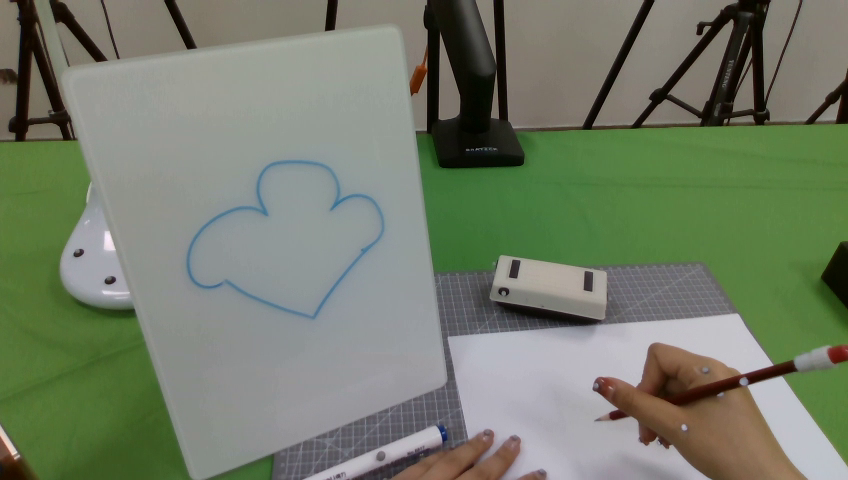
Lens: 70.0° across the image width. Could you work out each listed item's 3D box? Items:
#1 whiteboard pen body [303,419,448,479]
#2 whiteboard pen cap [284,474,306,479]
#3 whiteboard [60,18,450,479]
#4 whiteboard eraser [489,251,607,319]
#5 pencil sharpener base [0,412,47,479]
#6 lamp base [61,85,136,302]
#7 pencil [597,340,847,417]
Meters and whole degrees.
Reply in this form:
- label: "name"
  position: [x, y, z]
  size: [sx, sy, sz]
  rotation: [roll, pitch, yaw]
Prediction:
- label: "whiteboard pen body"
  position: [-0.046, 0.166, 0.458]
  size: [0.141, 0.017, 0.017]
  rotation: [-16, 42, -20]
- label: "whiteboard pen cap"
  position: [-0.100, 0.182, 0.438]
  size: [0.033, 0.018, 0.018]
  rotation: [-17, 42, -21]
- label: "whiteboard"
  position: [-0.121, -0.006, 0.497]
  size: [0.218, 0.307, 0.142]
  rotation: [-16, 22, -20]
- label: "whiteboard eraser"
  position: [0.125, 0.046, 0.606]
  size: [0.112, 0.042, 0.055]
  rotation: [10, 40, 9]
- label: "pencil sharpener base"
  position: [-0.285, 0.167, 0.382]
  size: [0.061, 0.108, 0.076]
  rotation: [31, 47, 31]
- label: "lamp base"
  position: [-0.305, -0.056, 0.603]
  size: [0.178, 0.182, 0.160]
  rotation: [24, 43, 28]
- label: "pencil"
  position: [0.184, 0.098, 0.402]
  size: [0.012, 0.194, 0.012]
  rotation: [15, 58, -26]
